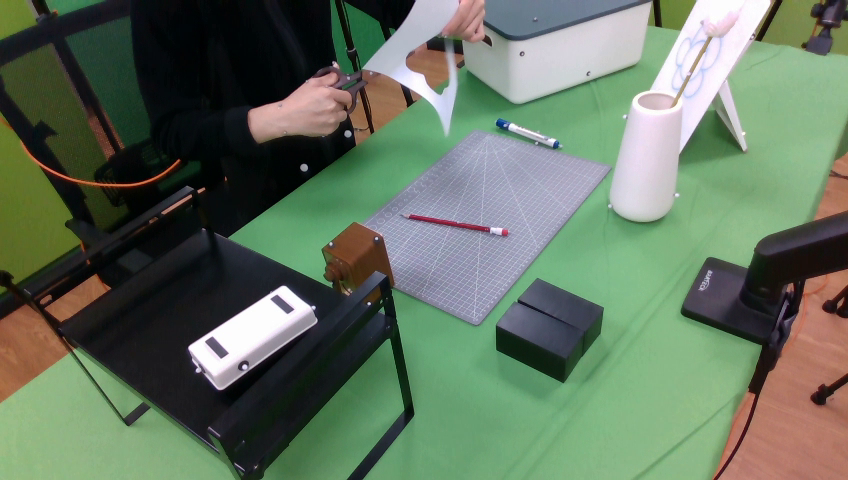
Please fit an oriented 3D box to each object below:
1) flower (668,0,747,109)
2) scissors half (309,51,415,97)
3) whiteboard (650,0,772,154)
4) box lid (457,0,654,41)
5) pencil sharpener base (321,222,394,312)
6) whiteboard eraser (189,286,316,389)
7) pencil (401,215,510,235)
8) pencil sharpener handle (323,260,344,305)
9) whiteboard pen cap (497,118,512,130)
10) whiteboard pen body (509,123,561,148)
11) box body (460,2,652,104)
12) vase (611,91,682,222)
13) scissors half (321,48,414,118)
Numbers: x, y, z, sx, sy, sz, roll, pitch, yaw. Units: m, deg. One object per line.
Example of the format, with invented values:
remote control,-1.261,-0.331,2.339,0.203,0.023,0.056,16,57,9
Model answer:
flower,0.354,-0.187,0.879,0.038,0.362,0.044,30,48,14
scissors half,-0.097,-0.261,0.931,0.175,0.040,0.013,-16,29,7
whiteboard,0.543,-0.298,1.076,0.144,0.305,0.216,12,40,-7
box lid,0.285,-0.522,1.323,0.373,0.015,0.261,-22,43,-16
pencil sharpener base,-0.096,0.041,0.873,0.061,0.107,0.077,25,54,32
whiteboard eraser,-0.166,0.096,0.593,0.113,0.042,0.055,-36,47,-29
pencil,0.049,-0.027,1.007,0.193,0.012,0.012,10,43,21
pencil sharpener handle,-0.131,0.062,0.839,0.035,0.068,0.031,29,55,28
whiteboard pen cap,0.165,-0.235,1.227,0.033,0.018,0.018,31,53,31
whiteboard pen body,0.209,-0.212,1.195,0.139,0.017,0.017,30,52,33
box body,0.291,-0.465,1.371,0.365,0.161,0.252,-22,42,-16
vase,0.348,-0.125,0.935,0.098,0.201,0.097,-3,40,3
scissors half,-0.087,-0.245,0.939,0.175,0.040,0.012,-35,20,16
